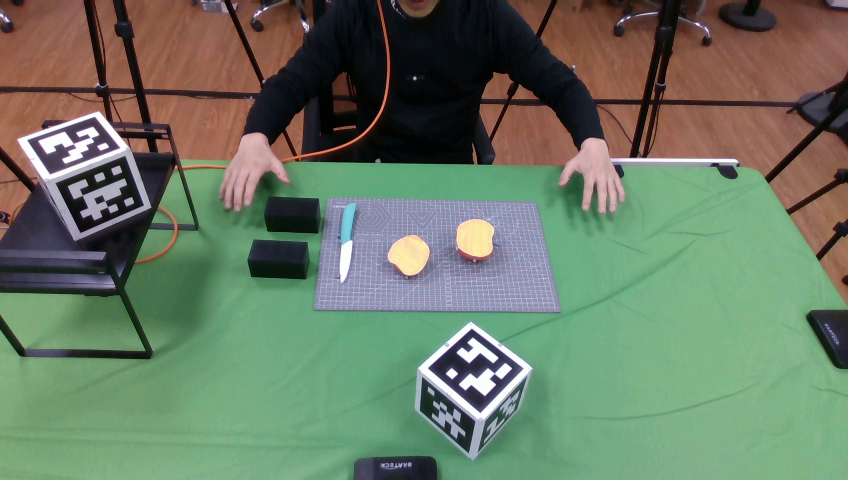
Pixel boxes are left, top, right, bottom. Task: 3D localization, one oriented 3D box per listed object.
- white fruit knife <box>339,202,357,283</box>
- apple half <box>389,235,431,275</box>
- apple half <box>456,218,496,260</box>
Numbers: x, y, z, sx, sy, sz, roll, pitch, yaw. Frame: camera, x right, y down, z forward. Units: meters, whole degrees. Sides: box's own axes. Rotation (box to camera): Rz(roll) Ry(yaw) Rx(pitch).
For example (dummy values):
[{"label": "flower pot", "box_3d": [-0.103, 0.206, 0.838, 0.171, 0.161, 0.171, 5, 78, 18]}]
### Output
[{"label": "white fruit knife", "box_3d": [-0.151, 0.002, 1.179, 0.027, 0.016, 0.206, -8, 47, 9]}, {"label": "apple half", "box_3d": [-0.023, 0.032, 1.145, 0.081, 0.033, 0.081, -2, 65, 5]}, {"label": "apple half", "box_3d": [0.098, 0.003, 1.168, 0.075, 0.053, 0.080, 5, 68, -5]}]
